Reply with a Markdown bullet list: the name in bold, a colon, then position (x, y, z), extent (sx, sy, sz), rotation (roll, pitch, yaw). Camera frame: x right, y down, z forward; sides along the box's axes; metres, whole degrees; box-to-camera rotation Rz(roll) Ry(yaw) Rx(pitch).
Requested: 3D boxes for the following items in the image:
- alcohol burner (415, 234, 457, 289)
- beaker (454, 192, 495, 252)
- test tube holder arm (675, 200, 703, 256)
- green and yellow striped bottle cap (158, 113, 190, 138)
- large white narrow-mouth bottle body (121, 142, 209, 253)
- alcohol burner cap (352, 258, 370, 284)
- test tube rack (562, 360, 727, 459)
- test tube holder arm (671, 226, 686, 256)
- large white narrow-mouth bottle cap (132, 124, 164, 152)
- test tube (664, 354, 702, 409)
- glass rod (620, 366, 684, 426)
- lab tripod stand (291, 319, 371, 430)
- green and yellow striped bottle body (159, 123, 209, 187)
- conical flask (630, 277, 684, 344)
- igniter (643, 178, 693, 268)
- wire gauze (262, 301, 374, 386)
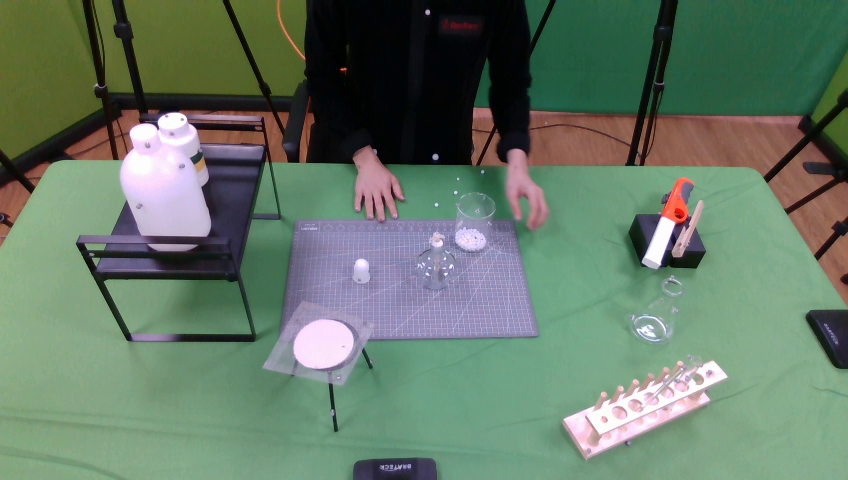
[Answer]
- **alcohol burner**: position (0.022, 0.033, 1.100), extent (0.078, 0.120, 0.077), rotation (1, 47, -1)
- **beaker**: position (0.097, -0.034, 1.180), extent (0.074, 0.101, 0.084), rotation (23, 49, 17)
- **test tube holder arm**: position (0.523, -0.025, 1.190), extent (0.013, 0.015, 0.178), rotation (1, 36, 42)
- **green and yellow striped bottle cap**: position (-0.393, -0.180, 0.951), extent (0.045, 0.020, 0.045), rotation (2, 44, -2)
- **large white narrow-mouth bottle body**: position (-0.378, -0.077, 0.875), extent (0.102, 0.195, 0.101), rotation (3, 46, -3)
- **alcohol burner cap**: position (-0.117, 0.055, 1.118), extent (0.034, 0.048, 0.033), rotation (2, 46, -2)
- **test tube rack**: position (0.341, 0.247, 0.940), extent (0.243, 0.085, 0.066), rotation (-16, 49, -19)
- **test tube holder arm**: position (0.494, 0.001, 1.167), extent (0.010, 0.015, 0.087), rotation (1, 36, 42)
- **large white narrow-mouth bottle cap**: position (-0.370, -0.137, 0.812), extent (0.038, 0.024, 0.037), rotation (3, 46, -3)
- **test tube**: position (0.385, 0.215, 0.906), extent (0.017, 0.151, 0.017), rotation (-1, 49, 1)
- **glass rod**: position (0.322, 0.227, 0.866), extent (0.008, 0.200, 0.008), rotation (5, 51, -7)
- **lab tripod stand**: position (-0.146, 0.193, 0.923), extent (0.148, 0.132, 0.147), rotation (1, 47, -1)
- **green and yellow striped bottle body**: position (-0.395, -0.145, 0.989), extent (0.063, 0.120, 0.063), rotation (2, 46, -2)
- **conical flask**: position (0.408, 0.117, 1.045), extent (0.075, 0.122, 0.075), rotation (2, 46, -2)
- **igniter**: position (0.488, -0.042, 1.205), extent (0.057, 0.025, 0.276), rotation (30, 51, 11)
- **wire gauze**: position (-0.150, 0.148, 0.873), extent (0.121, 0.011, 0.124), rotation (14, 46, 12)
